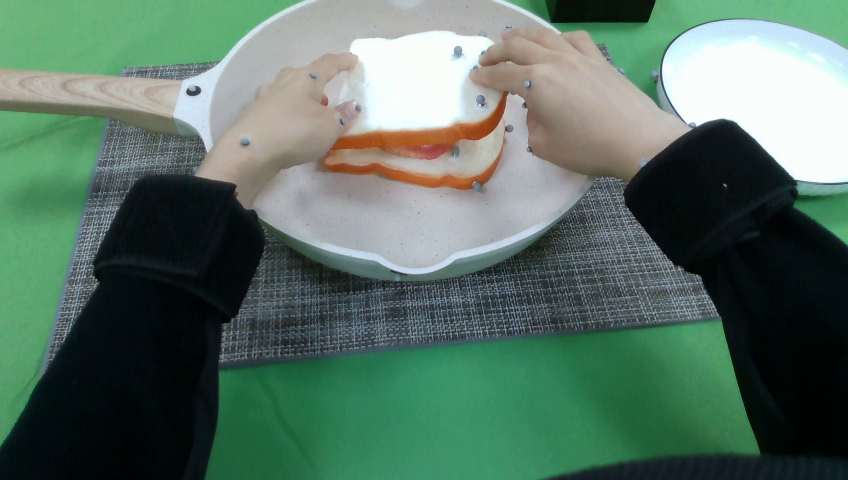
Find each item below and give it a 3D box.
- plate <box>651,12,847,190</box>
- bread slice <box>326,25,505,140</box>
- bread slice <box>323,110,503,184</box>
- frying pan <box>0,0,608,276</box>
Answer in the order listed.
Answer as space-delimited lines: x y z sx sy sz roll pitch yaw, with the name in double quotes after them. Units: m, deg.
0.298 -0.119 0.523 0.208 0.039 0.205 1 55 -1 "plate"
-0.004 -0.122 0.458 0.131 0.019 0.104 1 62 9 "bread slice"
-0.004 -0.091 0.493 0.134 0.018 0.106 8 56 3 "bread slice"
-0.116 -0.098 0.446 0.489 0.103 0.303 5 54 -9 "frying pan"
